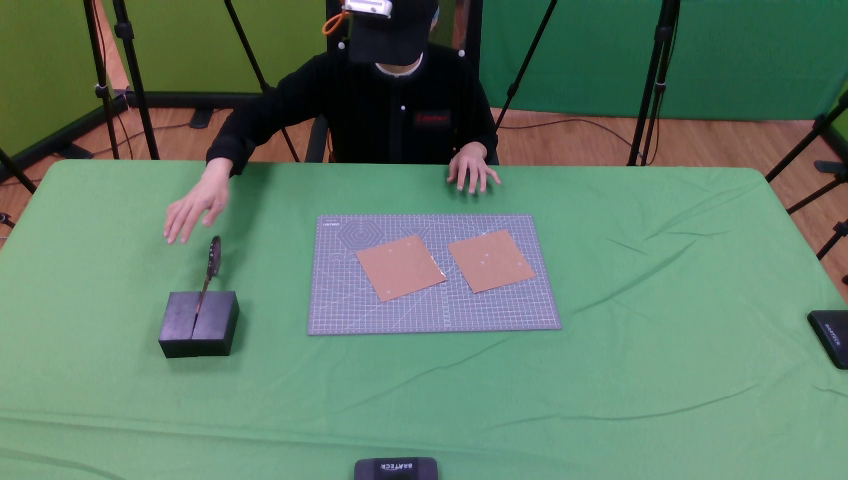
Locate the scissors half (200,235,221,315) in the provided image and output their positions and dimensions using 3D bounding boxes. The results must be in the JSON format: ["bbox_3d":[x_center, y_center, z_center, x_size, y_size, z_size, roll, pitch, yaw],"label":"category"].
[{"bbox_3d":[-0.374,0.058,1.057,0.013,0.040,0.174,8,49,-14],"label":"scissors half"}]

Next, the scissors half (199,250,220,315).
[{"bbox_3d":[-0.379,0.073,1.070,0.013,0.040,0.174,4,33,-10],"label":"scissors half"}]

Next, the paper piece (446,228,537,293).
[{"bbox_3d":[0.130,0.037,1.177,0.136,0.004,0.134,-14,49,-16],"label":"paper piece"}]

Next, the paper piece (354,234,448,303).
[{"bbox_3d":[-0.045,0.049,1.154,0.138,0.009,0.135,-17,46,-18],"label":"paper piece"}]
